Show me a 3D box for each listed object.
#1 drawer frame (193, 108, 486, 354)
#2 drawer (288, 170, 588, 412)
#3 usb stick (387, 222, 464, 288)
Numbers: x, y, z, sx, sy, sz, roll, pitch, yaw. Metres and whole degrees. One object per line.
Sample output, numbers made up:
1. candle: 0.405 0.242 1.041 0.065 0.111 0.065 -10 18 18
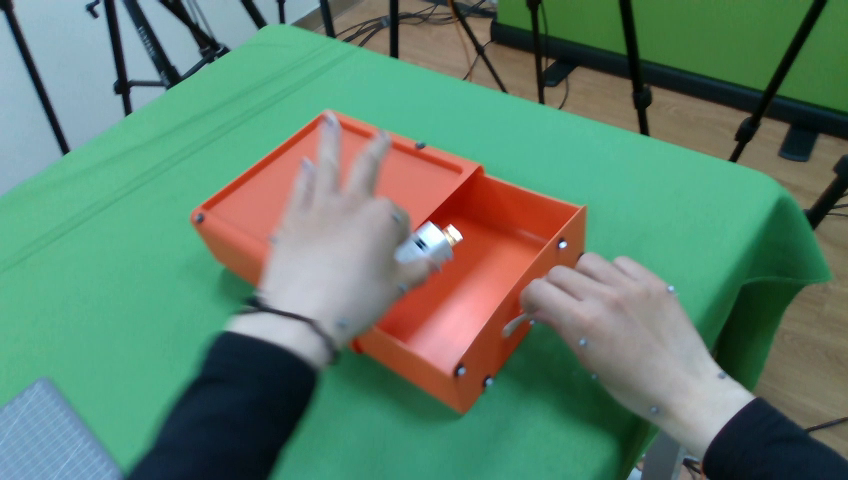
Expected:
1. drawer frame: -0.077 -0.022 0.593 0.211 0.083 0.201 25 58 32
2. drawer: 0.007 0.017 0.538 0.210 0.074 0.194 25 58 32
3. usb stick: 0.003 0.007 0.448 0.059 0.027 0.021 -36 54 -12
